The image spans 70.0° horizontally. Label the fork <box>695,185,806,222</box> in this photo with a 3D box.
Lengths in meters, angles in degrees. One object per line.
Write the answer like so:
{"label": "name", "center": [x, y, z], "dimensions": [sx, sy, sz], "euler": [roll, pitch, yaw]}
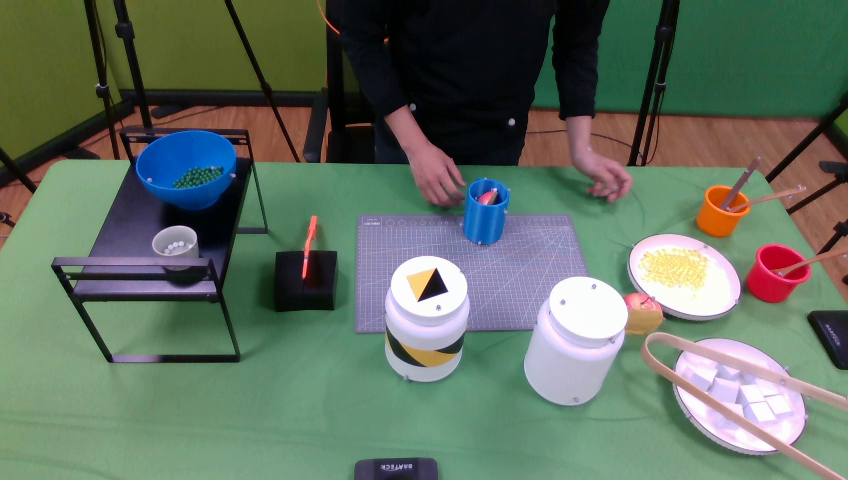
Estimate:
{"label": "fork", "center": [0.658, -0.074, 1.230], "dimensions": [0.207, 0.019, 0.028], "euler": [-23, 36, 37]}

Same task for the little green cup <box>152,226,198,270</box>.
{"label": "little green cup", "center": [-0.364, 0.013, 0.894], "dimensions": [0.061, 0.039, 0.061], "euler": [3, 46, -3]}

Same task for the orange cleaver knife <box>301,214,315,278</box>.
{"label": "orange cleaver knife", "center": [-0.218, 0.007, 1.131], "dimensions": [0.012, 0.077, 0.210], "euler": [7, 19, -9]}

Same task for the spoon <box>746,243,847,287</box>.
{"label": "spoon", "center": [0.702, 0.043, 1.126], "dimensions": [0.194, 0.022, 0.041], "euler": [-29, 38, 30]}

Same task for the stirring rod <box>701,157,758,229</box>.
{"label": "stirring rod", "center": [0.634, -0.097, 1.257], "dimensions": [0.014, 0.006, 0.176], "euler": [38, 97, 30]}

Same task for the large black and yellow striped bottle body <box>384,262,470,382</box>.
{"label": "large black and yellow striped bottle body", "center": [0.002, 0.127, 0.962], "dimensions": [0.131, 0.185, 0.130], "euler": [2, 48, -2]}

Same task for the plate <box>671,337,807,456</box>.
{"label": "plate", "center": [0.504, 0.254, 0.984], "dimensions": [0.208, 0.039, 0.206], "euler": [2, 46, -2]}

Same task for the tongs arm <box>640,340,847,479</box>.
{"label": "tongs arm", "center": [0.500, 0.277, 0.919], "dimensions": [0.386, 0.028, 0.028], "euler": [34, 59, 22]}

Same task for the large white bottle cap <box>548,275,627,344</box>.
{"label": "large white bottle cap", "center": [0.240, 0.100, 0.890], "dimensions": [0.115, 0.018, 0.114], "euler": [3, 47, -3]}

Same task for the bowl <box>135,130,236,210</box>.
{"label": "bowl", "center": [-0.375, -0.102, 0.978], "dimensions": [0.151, 0.077, 0.150], "euler": [2, 46, -2]}

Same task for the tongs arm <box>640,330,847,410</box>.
{"label": "tongs arm", "center": [0.543, 0.225, 0.969], "dimensions": [0.384, 0.026, 0.050], "euler": [22, 52, 13]}

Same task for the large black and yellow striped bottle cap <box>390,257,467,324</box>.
{"label": "large black and yellow striped bottle cap", "center": [0.007, 0.072, 0.899], "dimensions": [0.115, 0.019, 0.114], "euler": [2, 47, -2]}

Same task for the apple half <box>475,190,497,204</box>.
{"label": "apple half", "center": [0.111, -0.067, 1.200], "dimensions": [0.032, 0.081, 0.081], "euler": [31, 51, 14]}

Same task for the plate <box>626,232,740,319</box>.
{"label": "plate", "center": [0.488, 0.071, 1.157], "dimensions": [0.209, 0.038, 0.208], "euler": [3, 46, -3]}

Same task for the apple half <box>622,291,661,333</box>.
{"label": "apple half", "center": [0.372, 0.123, 1.074], "dimensions": [0.081, 0.075, 0.053], "euler": [0, 42, 1]}

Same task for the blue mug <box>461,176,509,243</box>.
{"label": "blue mug", "center": [0.116, -0.070, 1.211], "dimensions": [0.082, 0.106, 0.115], "euler": [-8, 47, -12]}

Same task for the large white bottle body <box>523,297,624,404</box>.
{"label": "large white bottle body", "center": [0.235, 0.159, 0.952], "dimensions": [0.131, 0.185, 0.130], "euler": [2, 47, -2]}
